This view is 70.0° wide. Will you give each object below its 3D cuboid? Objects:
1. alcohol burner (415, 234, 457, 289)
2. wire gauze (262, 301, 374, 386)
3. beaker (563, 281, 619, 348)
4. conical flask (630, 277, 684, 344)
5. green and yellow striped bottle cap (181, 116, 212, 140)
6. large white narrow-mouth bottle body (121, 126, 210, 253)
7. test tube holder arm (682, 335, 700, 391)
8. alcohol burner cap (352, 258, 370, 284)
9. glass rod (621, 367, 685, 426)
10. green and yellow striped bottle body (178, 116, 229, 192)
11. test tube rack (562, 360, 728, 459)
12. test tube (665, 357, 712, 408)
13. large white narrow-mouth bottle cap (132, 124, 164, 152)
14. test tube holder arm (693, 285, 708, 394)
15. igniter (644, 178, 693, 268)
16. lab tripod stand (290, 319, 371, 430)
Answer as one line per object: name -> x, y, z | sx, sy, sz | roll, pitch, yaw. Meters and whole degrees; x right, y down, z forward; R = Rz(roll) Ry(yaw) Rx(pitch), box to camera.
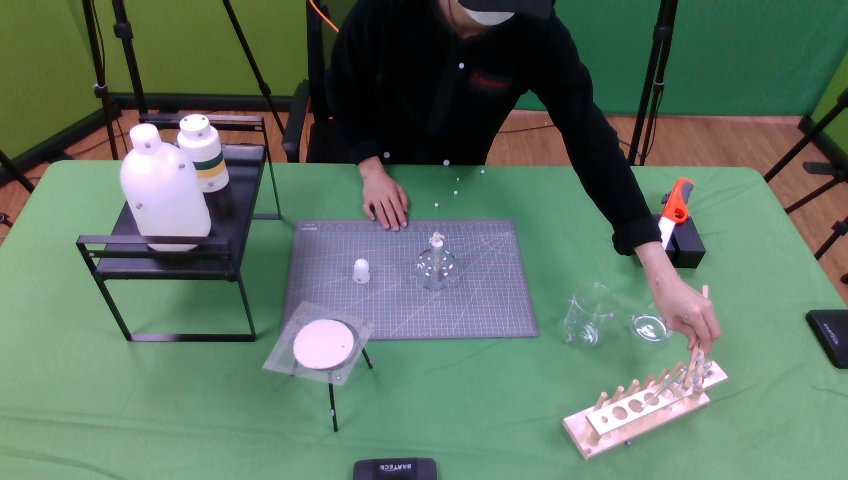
alcohol burner -> 0.022, 0.034, 1.100 | 0.078, 0.120, 0.077 | 1, 47, 0
wire gauze -> -0.150, 0.148, 0.873 | 0.121, 0.011, 0.124 | 14, 46, 12
beaker -> 0.283, 0.129, 1.041 | 0.074, 0.101, 0.083 | 11, 46, 7
conical flask -> 0.409, 0.117, 1.045 | 0.075, 0.122, 0.075 | 2, 46, -2
green and yellow striped bottle cap -> -0.358, -0.177, 0.951 | 0.045, 0.020, 0.045 | 1, 43, -1
large white narrow-mouth bottle body -> -0.378, -0.077, 0.875 | 0.102, 0.195, 0.101 | 3, 46, -3
test tube holder arm -> 0.397, 0.181, 0.896 | 0.010, 0.015, 0.087 | 22, 61, 14
alcohol burner cap -> -0.117, 0.055, 1.118 | 0.034, 0.048, 0.033 | 1, 45, -1
glass rod -> 0.322, 0.228, 0.866 | 0.008, 0.200, 0.008 | 6, 52, -7
green and yellow striped bottle body -> -0.361, -0.142, 0.989 | 0.063, 0.120, 0.063 | 2, 46, -2
test tube rack -> 0.341, 0.247, 0.940 | 0.243, 0.085, 0.066 | -16, 49, -18
test tube -> 0.391, 0.216, 0.905 | 0.017, 0.151, 0.017 | 2, 52, -3
large white narrow-mouth bottle cap -> -0.370, -0.137, 0.813 | 0.038, 0.024, 0.037 | 3, 46, -3
test tube holder arm -> 0.418, 0.147, 0.917 | 0.013, 0.015, 0.177 | 15, 59, 10
igniter -> 0.488, -0.042, 1.204 | 0.057, 0.025, 0.276 | 30, 51, 10
lab tripod stand -> -0.146, 0.194, 0.923 | 0.148, 0.132, 0.147 | 1, 47, -1
